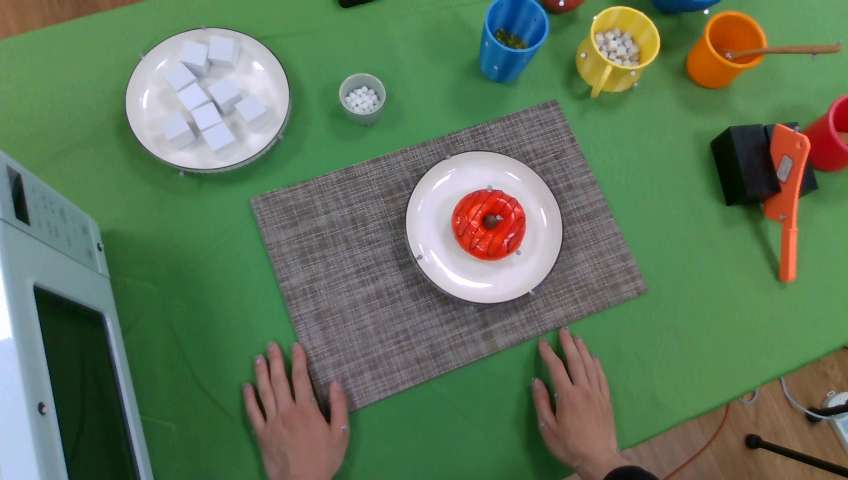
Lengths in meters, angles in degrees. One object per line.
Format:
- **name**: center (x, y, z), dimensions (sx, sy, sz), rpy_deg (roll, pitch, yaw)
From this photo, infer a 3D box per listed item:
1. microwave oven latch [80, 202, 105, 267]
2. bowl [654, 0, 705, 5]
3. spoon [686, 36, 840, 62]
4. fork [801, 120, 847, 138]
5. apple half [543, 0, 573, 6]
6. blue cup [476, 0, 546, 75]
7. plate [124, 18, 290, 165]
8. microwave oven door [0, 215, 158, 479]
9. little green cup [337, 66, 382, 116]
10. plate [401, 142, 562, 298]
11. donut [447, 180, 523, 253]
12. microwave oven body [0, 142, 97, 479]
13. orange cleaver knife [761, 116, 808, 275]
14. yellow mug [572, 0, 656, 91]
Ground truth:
- **microwave oven latch**: center (-0.402, -0.003, 0.718), dimensions (0.030, 0.029, 0.079), rpy_deg (-15, 78, -10)
- **bowl**: center (0.378, -0.406, 0.902), dimensions (0.151, 0.077, 0.150), rpy_deg (1, 76, -5)
- **spoon**: center (0.462, -0.269, 0.839), dimensions (0.022, 0.192, 0.041), rpy_deg (41, 69, -40)
- **fork**: center (0.631, -0.146, 0.826), dimensions (0.205, 0.019, 0.028), rpy_deg (15, 55, 43)
- **apple half**: center (0.187, -0.382, 0.879), dimensions (0.053, 0.075, 0.080), rpy_deg (-15, 80, -6)
- **blue cup**: center (0.110, -0.277, 0.829), dimensions (0.093, 0.100, 0.092), rpy_deg (2, 76, -7)
- **plate**: center (-0.280, -0.192, 0.799), dimensions (0.208, 0.039, 0.206), rpy_deg (2, 75, -5)
- **microwave oven door**: center (-0.325, 0.172, 0.574), dimensions (0.039, 0.244, 0.354), rpy_deg (-17, 77, -10)
- **little green cup**: center (-0.087, -0.199, 0.821), dimensions (0.061, 0.039, 0.061), rpy_deg (1, 75, -5)
- **plate**: center (0.073, -0.025, 0.788), dimensions (0.209, 0.038, 0.208), rpy_deg (1, 75, -5)
- **donut**: center (0.079, -0.030, 0.778), dimensions (0.099, 0.048, 0.098), rpy_deg (1, 76, -4)
- **microwave oven body**: center (-0.477, 0.176, 0.563), dimensions (0.326, 0.261, 0.439), rpy_deg (-17, 78, -10)
- **orange cleaver knife**: center (0.482, -0.059, 0.820), dimensions (0.012, 0.076, 0.212), rpy_deg (-5, 105, -5)
- **yellow mug**: center (0.263, -0.268, 0.860), dimensions (0.100, 0.064, 0.130), rpy_deg (27, 75, 1)
